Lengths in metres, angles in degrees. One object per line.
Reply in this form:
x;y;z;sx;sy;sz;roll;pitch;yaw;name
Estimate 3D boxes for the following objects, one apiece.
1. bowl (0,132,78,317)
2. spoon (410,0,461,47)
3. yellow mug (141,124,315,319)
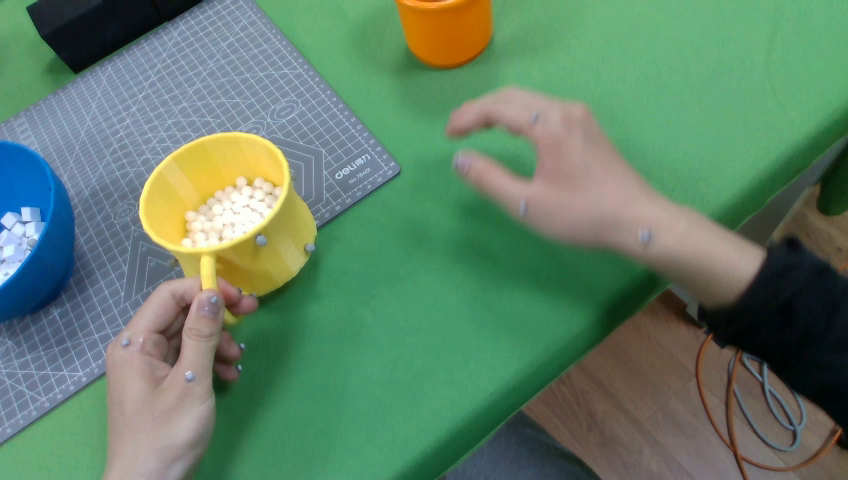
-0.321;0.003;0.454;0.151;0.077;0.150;-4;63;7;bowl
0.042;-0.243;0.482;0.041;0.194;0.022;46;34;22;spoon
-0.131;-0.009;0.412;0.100;0.064;0.129;-8;58;2;yellow mug
